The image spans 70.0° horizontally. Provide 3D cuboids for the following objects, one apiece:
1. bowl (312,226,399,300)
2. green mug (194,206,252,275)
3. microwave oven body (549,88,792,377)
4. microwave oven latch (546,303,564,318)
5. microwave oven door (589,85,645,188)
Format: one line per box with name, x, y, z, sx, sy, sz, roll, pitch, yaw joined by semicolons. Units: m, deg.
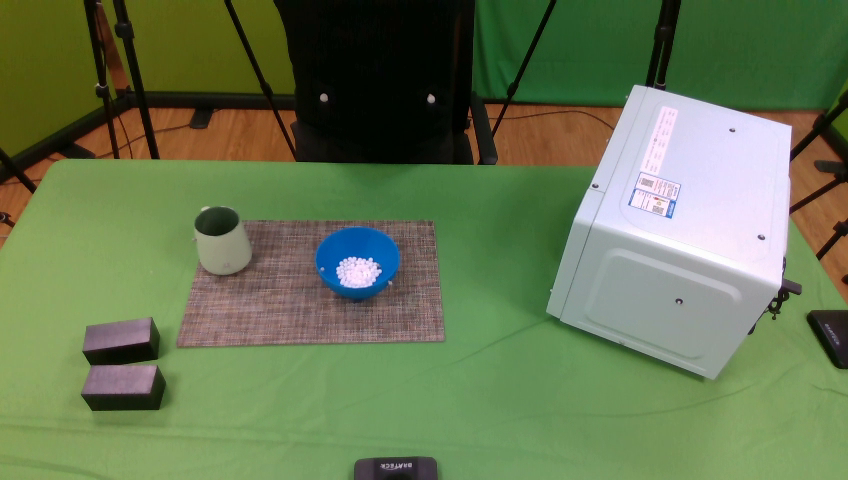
bowl;-0.121;0.054;1.091;0.151;0.077;0.150;2;46;-2
green mug;-0.377;-0.008;1.113;0.092;0.105;0.124;-26;53;-25
microwave oven body;0.456;-0.028;1.088;0.325;0.261;0.440;20;47;16
microwave oven latch;0.242;0.102;1.081;0.030;0.029;0.079;21;48;17
microwave oven door;0.342;-0.107;1.148;0.039;0.245;0.354;20;48;15
